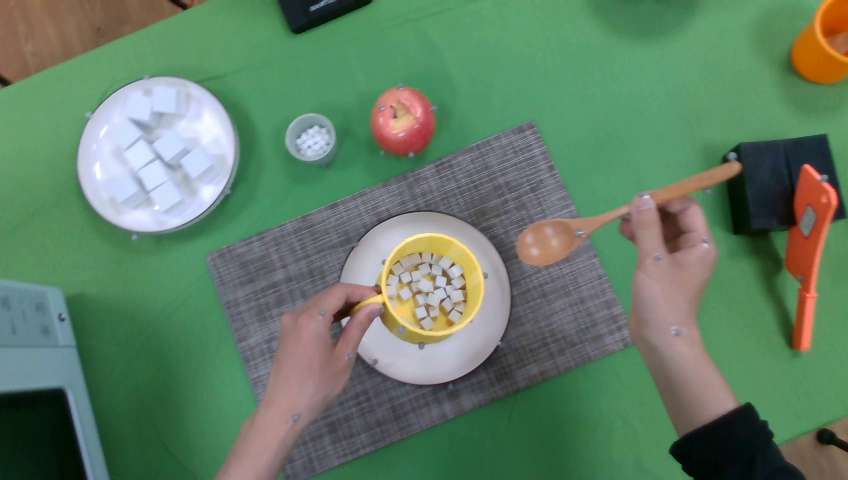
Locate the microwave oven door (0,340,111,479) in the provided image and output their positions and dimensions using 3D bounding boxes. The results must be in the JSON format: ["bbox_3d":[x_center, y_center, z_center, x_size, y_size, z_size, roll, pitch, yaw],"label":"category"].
[{"bbox_3d":[-0.393,0.274,0.602,0.039,0.244,0.354,-20,80,1],"label":"microwave oven door"}]

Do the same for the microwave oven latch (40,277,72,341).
[{"bbox_3d":[-0.455,0.086,0.737,0.030,0.029,0.079,-18,81,1],"label":"microwave oven latch"}]

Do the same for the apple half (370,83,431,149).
[{"bbox_3d":[-0.036,-0.143,0.743,0.053,0.075,0.080,-43,84,2],"label":"apple half"}]

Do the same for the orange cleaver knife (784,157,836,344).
[{"bbox_3d":[0.424,0.015,0.680,0.012,0.076,0.213,-3,113,6],"label":"orange cleaver knife"}]

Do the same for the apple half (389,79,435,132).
[{"bbox_3d":[-0.008,-0.169,0.744,0.033,0.081,0.081,-43,81,1],"label":"apple half"}]

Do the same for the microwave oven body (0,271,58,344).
[{"bbox_3d":[-0.545,0.284,0.616,0.326,0.261,0.440,-20,81,0],"label":"microwave oven body"}]

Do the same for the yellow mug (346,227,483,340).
[{"bbox_3d":[-0.013,0.048,0.588,0.131,0.064,0.099,-17,78,-15],"label":"yellow mug"}]

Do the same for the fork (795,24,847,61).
[{"bbox_3d":[0.533,-0.258,0.681,0.207,0.019,0.028,-23,74,45],"label":"fork"}]

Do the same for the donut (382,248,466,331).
[{"bbox_3d":[0.000,0.058,0.713,0.099,0.048,0.099,-1,84,5],"label":"donut"}]

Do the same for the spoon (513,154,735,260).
[{"bbox_3d":[0.166,-0.029,0.520,0.193,0.022,0.041,-24,76,26],"label":"spoon"}]

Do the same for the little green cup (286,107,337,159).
[{"bbox_3d":[-0.139,-0.132,0.766,0.061,0.039,0.061,-1,82,4],"label":"little green cup"}]

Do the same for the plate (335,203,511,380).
[{"bbox_3d":[-0.001,0.061,0.724,0.209,0.038,0.208,-1,82,4],"label":"plate"}]

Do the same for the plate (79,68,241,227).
[{"bbox_3d":[-0.332,-0.116,0.776,0.207,0.039,0.207,-1,82,4],"label":"plate"}]
